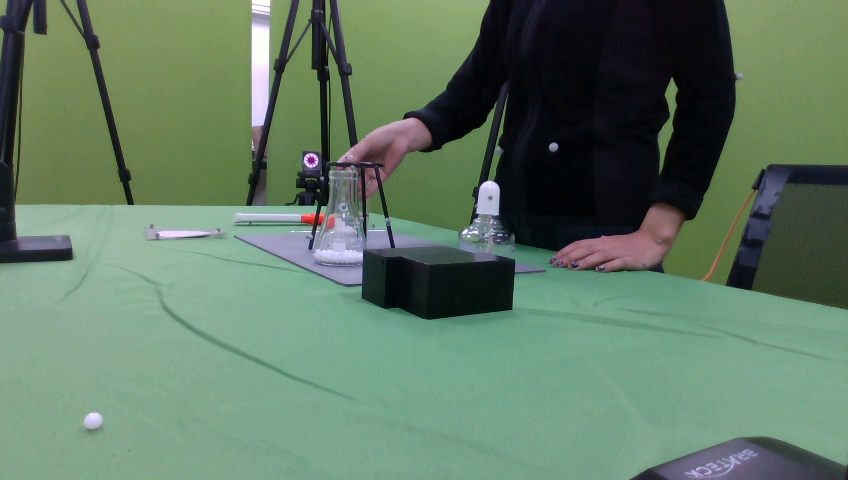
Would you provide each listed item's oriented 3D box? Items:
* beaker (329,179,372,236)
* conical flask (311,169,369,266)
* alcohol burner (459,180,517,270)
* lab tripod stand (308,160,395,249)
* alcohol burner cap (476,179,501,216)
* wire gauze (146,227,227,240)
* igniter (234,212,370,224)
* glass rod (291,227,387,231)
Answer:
[{"bbox_3d":[-0.137,-0.060,1.101,0.084,0.100,0.074,4,7,20],"label":"beaker"},{"bbox_3d":[-0.107,-0.031,0.786,0.075,0.122,0.075,2,8,0],"label":"conical flask"},{"bbox_3d":[0.086,-0.021,0.805,0.078,0.119,0.078,3,9,0],"label":"alcohol burner"},{"bbox_3d":[-0.101,-0.054,0.920,0.148,0.131,0.148,3,5,0],"label":"lab tripod stand"},{"bbox_3d":[0.086,-0.056,0.801,0.034,0.048,0.034,4,2,0],"label":"alcohol burner cap"},{"bbox_3d":[-0.400,-0.012,1.019,0.122,0.011,0.124,-1,6,-26],"label":"wire gauze"},{"bbox_3d":[-0.247,-0.046,1.253,0.278,0.025,0.057,-1,-3,-27],"label":"igniter"},{"bbox_3d":[-0.161,-0.022,1.177,0.201,0.008,0.008,-2,8,-29],"label":"glass rod"}]
